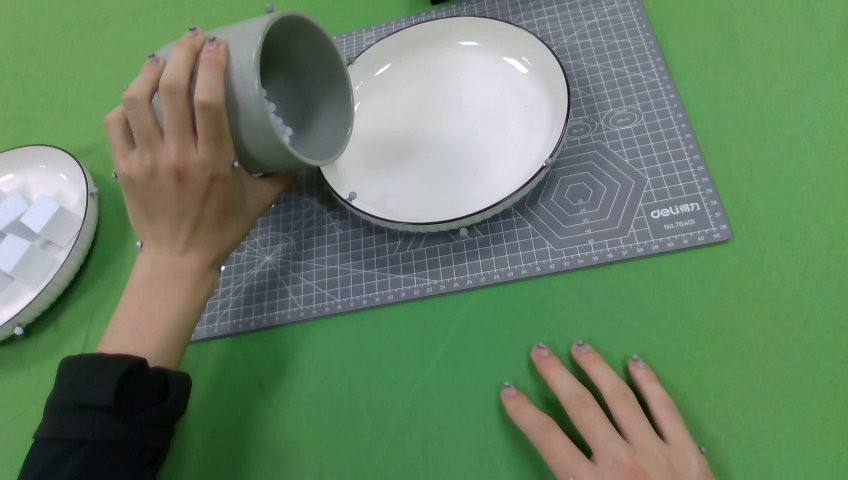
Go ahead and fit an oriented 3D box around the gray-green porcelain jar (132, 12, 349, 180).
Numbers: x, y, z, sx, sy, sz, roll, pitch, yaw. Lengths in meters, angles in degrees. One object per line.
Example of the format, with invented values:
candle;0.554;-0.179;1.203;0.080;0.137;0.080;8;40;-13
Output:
gray-green porcelain jar;-0.136;-0.100;0.444;0.126;0.107;0.105;-3;61;27

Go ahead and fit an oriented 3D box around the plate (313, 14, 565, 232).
plate;0.009;-0.095;0.489;0.209;0.038;0.207;-7;61;13

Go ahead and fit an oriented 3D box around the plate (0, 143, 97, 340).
plate;-0.385;0.007;0.548;0.207;0.039;0.206;-7;61;12
